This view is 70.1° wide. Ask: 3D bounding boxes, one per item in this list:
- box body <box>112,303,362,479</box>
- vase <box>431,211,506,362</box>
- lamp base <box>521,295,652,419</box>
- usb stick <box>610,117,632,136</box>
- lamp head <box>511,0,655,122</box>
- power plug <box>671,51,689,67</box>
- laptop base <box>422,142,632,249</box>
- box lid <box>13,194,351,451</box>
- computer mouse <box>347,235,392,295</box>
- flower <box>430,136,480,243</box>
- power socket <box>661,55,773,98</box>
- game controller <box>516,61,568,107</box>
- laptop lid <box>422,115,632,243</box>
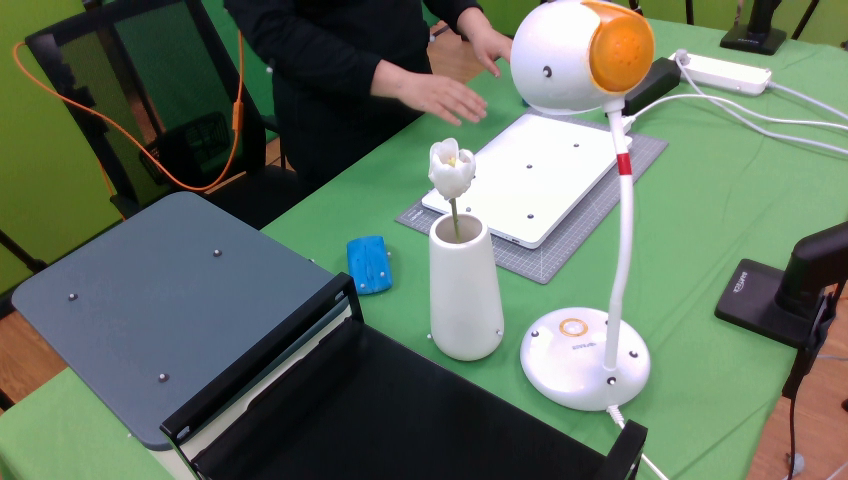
[{"bbox_3d":[-0.285,0.123,0.766,0.361,0.161,0.255,25,49,33],"label":"box body"},{"bbox_3d":[0.054,0.062,0.757,0.098,0.201,0.097,-3,40,3],"label":"vase"},{"bbox_3d":[0.201,0.095,0.710,0.161,0.181,0.177,-16,43,-10],"label":"lamp base"},{"bbox_3d":[0.370,-0.208,1.147,0.021,0.027,0.059,28,56,31],"label":"usb stick"},{"bbox_3d":[0.155,-0.168,0.564,0.113,0.113,0.122,-18,23,-12],"label":"lamp head"},{"bbox_3d":[0.541,-0.378,1.301,0.073,0.053,0.035,-33,46,-23],"label":"power plug"},{"bbox_3d":[0.193,-0.117,1.087,0.233,0.023,0.355,21,48,34],"label":"laptop base"},{"bbox_3d":[-0.292,0.067,0.717,0.368,0.015,0.264,25,50,33],"label":"box lid"},{"bbox_3d":[-0.086,0.035,0.936,0.063,0.041,0.116,-8,44,-5],"label":"computer mouse"},{"bbox_3d":[0.041,0.011,0.691,0.044,0.363,0.038,16,62,14],"label":"flower"},{"bbox_3d":[0.619,-0.352,1.289,0.225,0.033,0.072,26,51,33],"label":"power socket"},{"bbox_3d":[0.259,-0.352,1.336,0.097,0.052,0.154,-3,41,2],"label":"game controller"},{"bbox_3d":[0.189,-0.126,1.081,0.239,0.013,0.358,23,49,35],"label":"laptop lid"}]
